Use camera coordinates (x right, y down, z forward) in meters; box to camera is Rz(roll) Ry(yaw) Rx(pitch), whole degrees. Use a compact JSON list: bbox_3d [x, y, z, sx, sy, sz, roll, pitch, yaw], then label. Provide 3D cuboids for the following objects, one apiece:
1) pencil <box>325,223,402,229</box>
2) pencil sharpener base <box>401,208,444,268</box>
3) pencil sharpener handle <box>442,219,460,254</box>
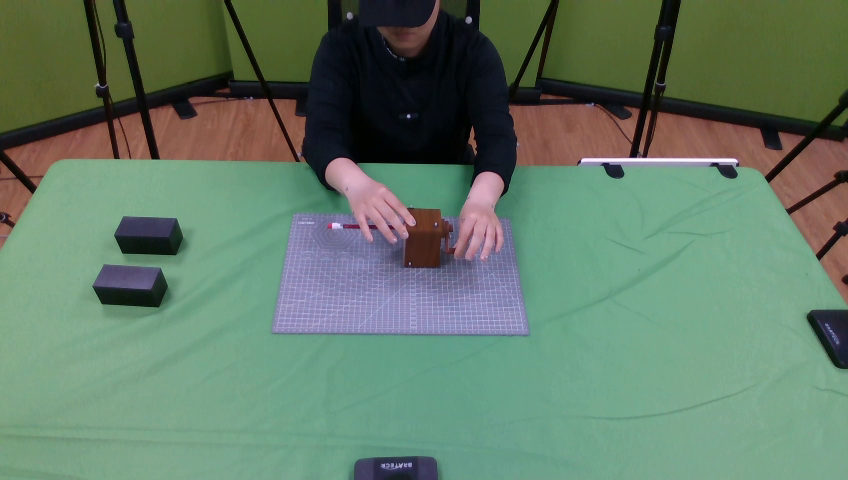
[{"bbox_3d":[-0.083,-0.024,1.111,0.194,0.012,0.012,1,45,-5],"label":"pencil"},{"bbox_3d":[-0.004,-0.002,1.137,0.077,0.107,0.061,0,45,-4],"label":"pencil sharpener base"},{"bbox_3d":[0.049,-0.007,1.116,0.031,0.036,0.067,0,71,-4],"label":"pencil sharpener handle"}]
